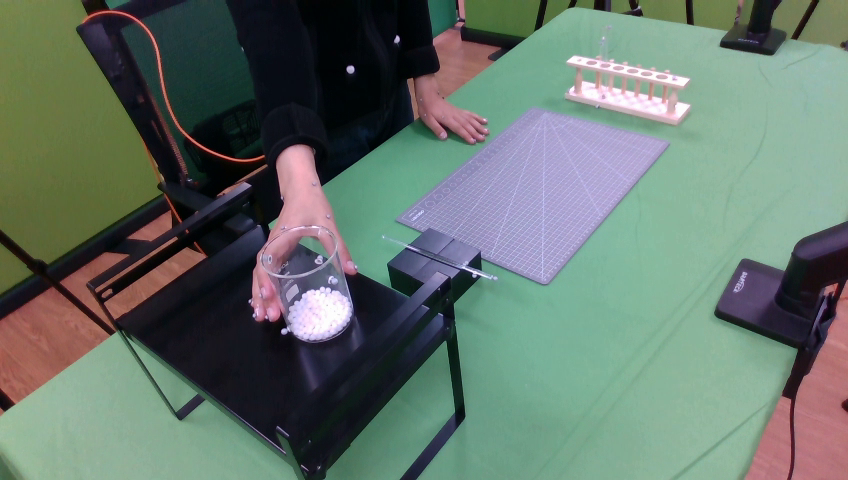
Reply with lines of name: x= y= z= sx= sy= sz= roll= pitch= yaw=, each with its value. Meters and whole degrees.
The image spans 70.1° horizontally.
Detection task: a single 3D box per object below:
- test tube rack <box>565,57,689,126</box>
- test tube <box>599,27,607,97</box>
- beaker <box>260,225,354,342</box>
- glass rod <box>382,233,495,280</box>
test tube rack: x=0.411 y=-0.311 z=1.230 sx=0.240 sy=0.085 sz=0.067 roll=23 pitch=49 yaw=32
test tube: x=0.358 y=-0.353 z=1.211 sx=0.017 sy=0.151 sz=0.017 roll=-8 pitch=43 yaw=8
beaker: x=-0.111 y=0.045 z=0.601 sx=0.073 sy=0.101 sz=0.084 roll=7 pitch=42 yaw=17
glass rod: x=0.017 y=0.022 z=0.882 sx=0.198 sy=0.008 sz=0.008 roll=21 pitch=48 yaw=30
